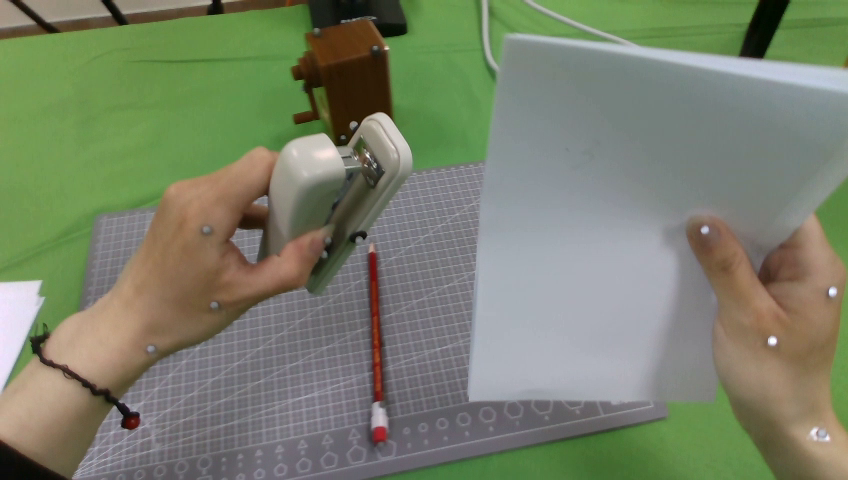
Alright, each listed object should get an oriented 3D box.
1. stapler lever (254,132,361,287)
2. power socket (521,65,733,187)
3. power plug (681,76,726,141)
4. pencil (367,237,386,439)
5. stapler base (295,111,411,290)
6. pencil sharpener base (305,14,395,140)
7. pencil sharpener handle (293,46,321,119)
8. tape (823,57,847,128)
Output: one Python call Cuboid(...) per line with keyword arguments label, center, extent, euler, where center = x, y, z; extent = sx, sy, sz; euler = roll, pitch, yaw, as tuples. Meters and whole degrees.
Cuboid(label="stapler lever", center=(-0.072, -0.012, 0.329), extent=(0.040, 0.118, 0.026), euler=(-13, 64, -43))
Cuboid(label="power socket", center=(0.214, -0.125, 0.644), extent=(0.225, 0.033, 0.072), euler=(30, 57, 22))
Cuboid(label="power plug", center=(0.290, -0.124, 0.613), extent=(0.072, 0.053, 0.035), euler=(-37, 60, -25))
Cuboid(label="pencil", center=(-0.041, 0.070, 0.500), extent=(0.012, 0.012, 0.192), euler=(-4, 50, -3))
Cuboid(label="stapler base", center=(-0.054, -0.018, 0.346), extent=(0.024, 0.131, 0.041), euler=(-14, 65, -43))
Cuboid(label="pencil sharpener base", center=(-0.076, -0.166, 0.628), extent=(0.077, 0.108, 0.060), euler=(-18, 54, -13))
Cuboid(label="pencil sharpener handle", center=(-0.121, -0.154, 0.602), extent=(0.031, 0.068, 0.035), euler=(-18, 31, -13))
Cuboid(label="tape", center=(0.509, -0.162, 0.660), extent=(0.117, 0.053, 0.115), euler=(0, 52, 0))
